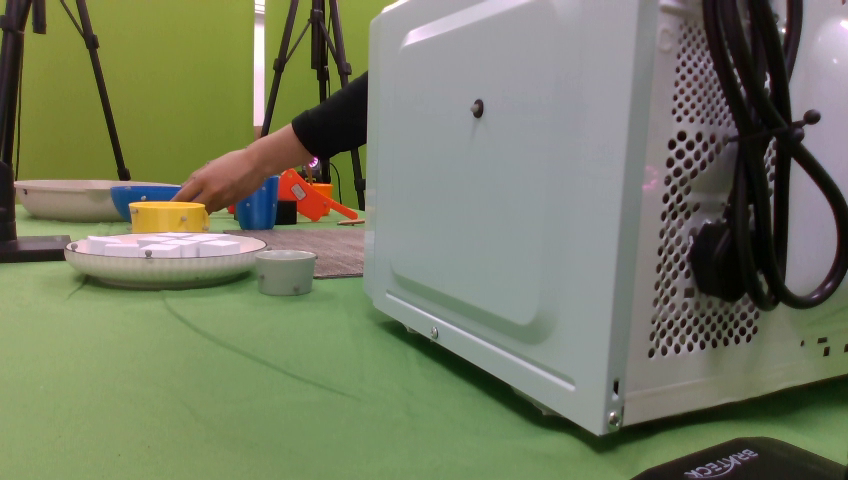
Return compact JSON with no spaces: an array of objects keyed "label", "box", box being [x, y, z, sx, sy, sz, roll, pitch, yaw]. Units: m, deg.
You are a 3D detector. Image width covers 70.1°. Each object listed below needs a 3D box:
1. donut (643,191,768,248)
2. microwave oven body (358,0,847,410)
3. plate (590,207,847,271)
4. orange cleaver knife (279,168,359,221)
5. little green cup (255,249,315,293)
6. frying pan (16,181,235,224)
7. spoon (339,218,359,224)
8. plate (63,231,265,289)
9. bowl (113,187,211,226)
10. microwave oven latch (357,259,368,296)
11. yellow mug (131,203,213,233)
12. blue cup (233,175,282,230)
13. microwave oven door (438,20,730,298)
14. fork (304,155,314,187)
[{"label":"donut","box":[0.239,-0.017,0.518,0.099,0.048,0.099,3,5,0]},{"label":"microwave oven body","box":[0.210,-0.051,0.471,0.444,0.260,0.324,-1,7,-28]},{"label":"plate","box":[0.246,-0.003,0.510,0.209,0.038,0.209,3,5,0]},{"label":"orange cleaver knife","box":[-0.236,-0.084,1.332,0.212,0.077,0.012,31,-9,-31]},{"label":"little green cup","box":[-0.144,0.032,0.627,0.061,0.038,0.061,2,5,0]},{"label":"frying pan","box":[-0.553,-0.097,1.265,0.490,0.102,0.305,-10,13,-24]},{"label":"spoon","box":[-0.087,-0.041,1.268,0.193,0.021,0.041,4,20,13]},{"label":"plate","box":[-0.288,0.021,0.687,0.208,0.039,0.207,2,8,0]},{"label":"bowl","box":[-0.437,-0.046,1.013,0.151,0.077,0.151,2,7,0]},{"label":"microwave oven latch","box":[-0.019,0.031,0.528,0.079,0.029,0.030,-1,7,-25]},{"label":"yellow mug","box":[-0.355,-0.020,0.878,0.099,0.064,0.131,4,7,22]},{"label":"blue cup","box":[-0.314,-0.071,1.141,0.093,0.100,0.092,0,7,0]},{"label":"microwave oven door","box":[0.181,-0.076,0.618,0.358,0.243,0.039,-2,8,-28]},{"label":"fork","box":[-0.268,-0.134,1.446,0.028,0.018,0.207,1,-36,-1]}]
